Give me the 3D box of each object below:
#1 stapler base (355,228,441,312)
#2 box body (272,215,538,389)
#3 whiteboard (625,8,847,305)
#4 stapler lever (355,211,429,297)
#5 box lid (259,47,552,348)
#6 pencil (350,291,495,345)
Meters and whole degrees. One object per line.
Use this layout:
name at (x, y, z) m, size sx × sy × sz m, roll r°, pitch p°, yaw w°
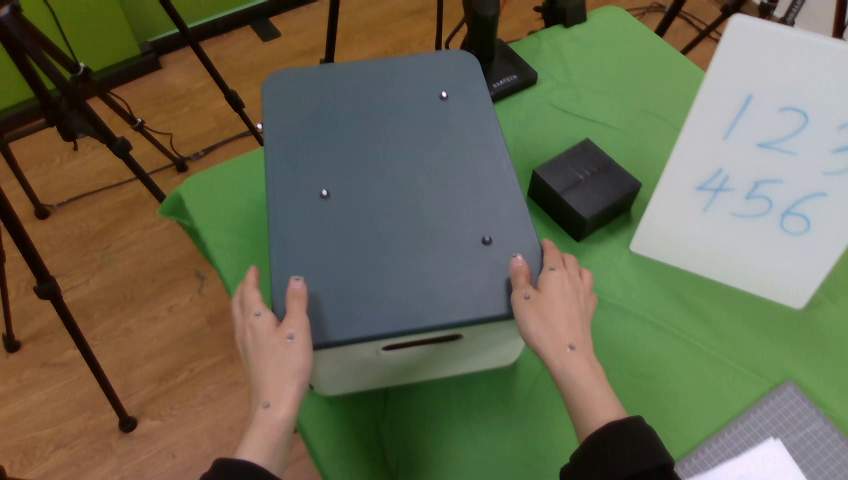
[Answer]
stapler base at (-0.031, 0.028, 0.735) m, size 0.041 × 0.025 × 0.130 m, roll 25°, pitch 61°, yaw 34°
box body at (-0.036, -0.030, 0.700) m, size 0.254 × 0.162 × 0.360 m, roll -9°, pitch 57°, yaw -7°
whiteboard at (0.407, -0.110, 0.719) m, size 0.216 × 0.308 × 0.143 m, roll 21°, pitch 39°, yaw 13°
stapler lever at (-0.037, 0.014, 0.716) m, size 0.026 × 0.040 × 0.118 m, roll 25°, pitch 60°, yaw 34°
box lid at (-0.035, -0.073, 0.640) m, size 0.264 × 0.015 × 0.367 m, roll -8°, pitch 57°, yaw -7°
pencil at (0.003, 0.090, 0.703) m, size 0.194 × 0.012 × 0.012 m, roll -16°, pitch 57°, yaw -27°
